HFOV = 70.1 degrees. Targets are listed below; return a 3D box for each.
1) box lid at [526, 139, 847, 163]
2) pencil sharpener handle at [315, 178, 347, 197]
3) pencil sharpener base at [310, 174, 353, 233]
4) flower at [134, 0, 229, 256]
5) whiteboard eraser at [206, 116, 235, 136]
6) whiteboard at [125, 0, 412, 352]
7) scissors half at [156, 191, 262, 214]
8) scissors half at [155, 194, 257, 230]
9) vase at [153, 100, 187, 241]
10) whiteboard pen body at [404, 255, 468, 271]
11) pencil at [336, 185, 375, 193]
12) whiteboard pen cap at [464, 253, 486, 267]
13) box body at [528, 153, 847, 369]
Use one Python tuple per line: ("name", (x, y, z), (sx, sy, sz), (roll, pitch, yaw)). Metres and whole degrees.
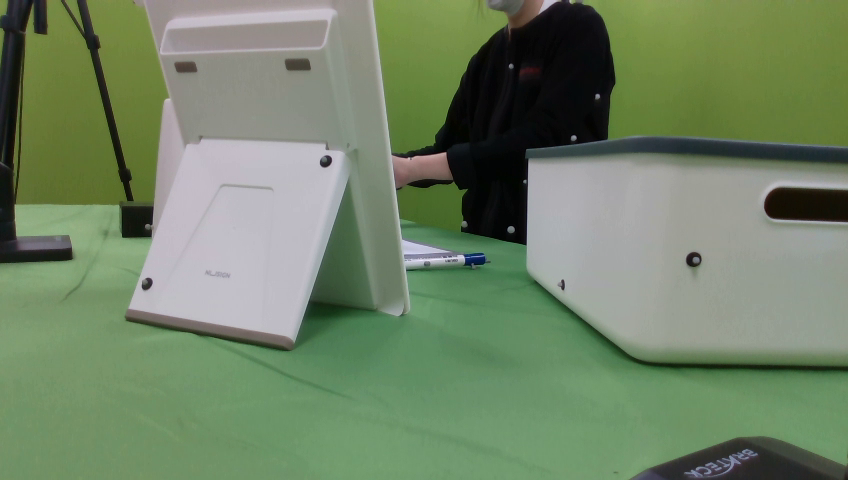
("box lid", (0.261, -0.078, 0.580), (0.264, 0.015, 0.371), (2, 7, -4))
("pencil sharpener handle", (-0.187, -0.103, 1.188), (0.068, 0.036, 0.030), (5, 5, -31))
("pencil sharpener base", (-0.176, -0.070, 1.140), (0.061, 0.107, 0.076), (-2, 8, -30))
("flower", (-0.282, -0.147, 0.713), (0.038, 0.362, 0.044), (-23, 24, -31))
("whiteboard eraser", (-0.450, -0.252, 1.335), (0.056, 0.042, 0.112), (1, 7, -22))
("whiteboard", (-0.151, -0.049, 0.472), (0.216, 0.305, 0.144), (6, 27, 24))
("scissors half", (-0.371, -0.069, 1.051), (0.176, 0.040, 0.013), (2, 25, -24))
("scissors half", (-0.378, -0.051, 1.058), (0.176, 0.040, 0.012), (20, 22, -31))
("vase", (-0.278, -0.066, 0.736), (0.098, 0.200, 0.098), (2, 9, 0))
("whiteboard pen body", (0.013, 0.030, 0.792), (0.141, 0.017, 0.017), (-3, 9, -24))
("pencil", (-0.121, -0.086, 1.035), (0.012, 0.012, 0.193), (-1, 4, -25))
("whiteboard pen cap", (0.066, 0.027, 0.818), (0.033, 0.018, 0.018), (-6, 10, -24))
("box body", (0.258, -0.005, 0.591), (0.254, 0.160, 0.363), (2, 7, -4))
